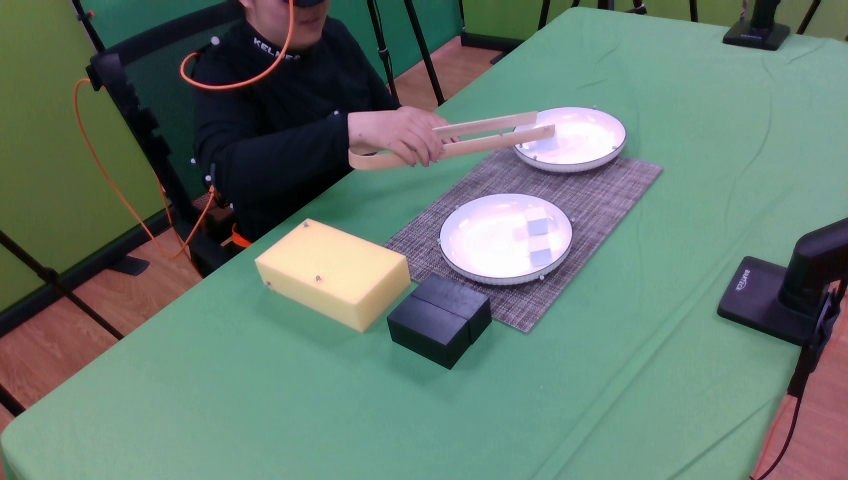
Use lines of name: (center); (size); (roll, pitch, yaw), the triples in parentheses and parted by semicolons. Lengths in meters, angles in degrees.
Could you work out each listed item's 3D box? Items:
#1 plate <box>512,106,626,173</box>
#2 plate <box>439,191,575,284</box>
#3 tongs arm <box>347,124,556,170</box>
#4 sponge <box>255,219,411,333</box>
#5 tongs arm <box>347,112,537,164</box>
plate: (0.269, -0.185, 1.132); (0.209, 0.038, 0.208); (-5, 40, 5)
plate: (0.129, -0.001, 0.942); (0.207, 0.039, 0.206); (-5, 40, 5)
tongs arm: (0.057, -0.167, 1.043); (0.387, 0.026, 0.050); (-15, 39, -24)
sponge: (-0.139, 0.048, 0.922); (0.205, 0.061, 0.118); (19, 47, 30)
tongs arm: (0.042, -0.186, 1.070); (0.390, 0.028, 0.028); (-15, 42, -23)
